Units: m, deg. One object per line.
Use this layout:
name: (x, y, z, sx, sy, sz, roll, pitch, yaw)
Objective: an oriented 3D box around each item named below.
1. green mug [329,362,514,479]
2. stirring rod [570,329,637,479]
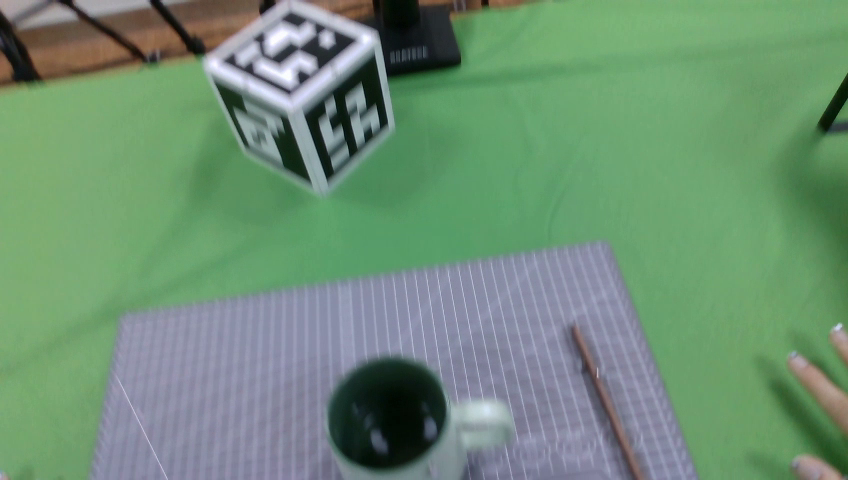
green mug: (0.000, 0.139, 0.421, 0.125, 0.106, 0.091, -8, 55, 1)
stirring rod: (0.142, 0.145, 0.457, 0.006, 0.014, 0.174, -9, 55, -7)
